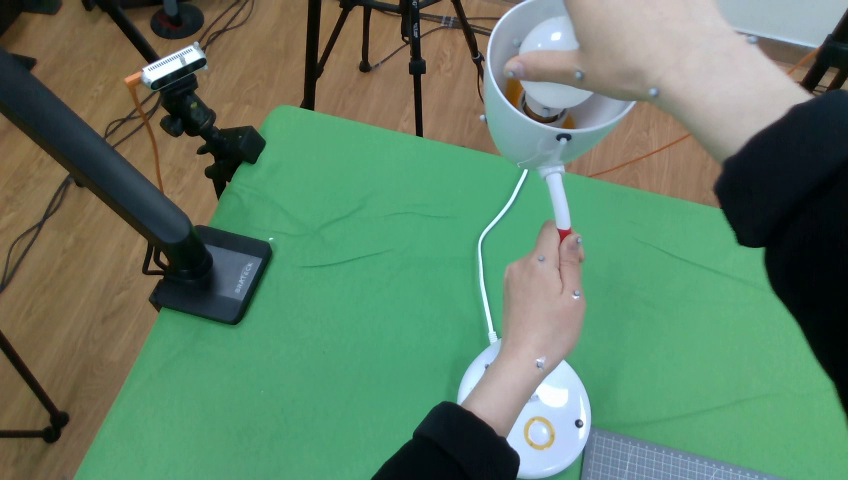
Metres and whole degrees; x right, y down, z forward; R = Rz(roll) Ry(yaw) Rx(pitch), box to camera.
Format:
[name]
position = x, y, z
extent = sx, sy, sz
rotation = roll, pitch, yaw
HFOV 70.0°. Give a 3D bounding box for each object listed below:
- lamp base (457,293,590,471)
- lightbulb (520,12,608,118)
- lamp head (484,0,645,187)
[lamp base]
position = 0.116, 0.145, 0.662
extent = 0.161, 0.181, 0.177
rotation = -23, 62, -15
[lightbulb]
position = 0.096, -0.119, 0.440
extent = 0.059, 0.108, 0.059
rotation = 0, 76, -1
[lamp head]
position = 0.098, -0.106, 0.470
extent = 0.112, 0.123, 0.111
rotation = 1, 67, -2
